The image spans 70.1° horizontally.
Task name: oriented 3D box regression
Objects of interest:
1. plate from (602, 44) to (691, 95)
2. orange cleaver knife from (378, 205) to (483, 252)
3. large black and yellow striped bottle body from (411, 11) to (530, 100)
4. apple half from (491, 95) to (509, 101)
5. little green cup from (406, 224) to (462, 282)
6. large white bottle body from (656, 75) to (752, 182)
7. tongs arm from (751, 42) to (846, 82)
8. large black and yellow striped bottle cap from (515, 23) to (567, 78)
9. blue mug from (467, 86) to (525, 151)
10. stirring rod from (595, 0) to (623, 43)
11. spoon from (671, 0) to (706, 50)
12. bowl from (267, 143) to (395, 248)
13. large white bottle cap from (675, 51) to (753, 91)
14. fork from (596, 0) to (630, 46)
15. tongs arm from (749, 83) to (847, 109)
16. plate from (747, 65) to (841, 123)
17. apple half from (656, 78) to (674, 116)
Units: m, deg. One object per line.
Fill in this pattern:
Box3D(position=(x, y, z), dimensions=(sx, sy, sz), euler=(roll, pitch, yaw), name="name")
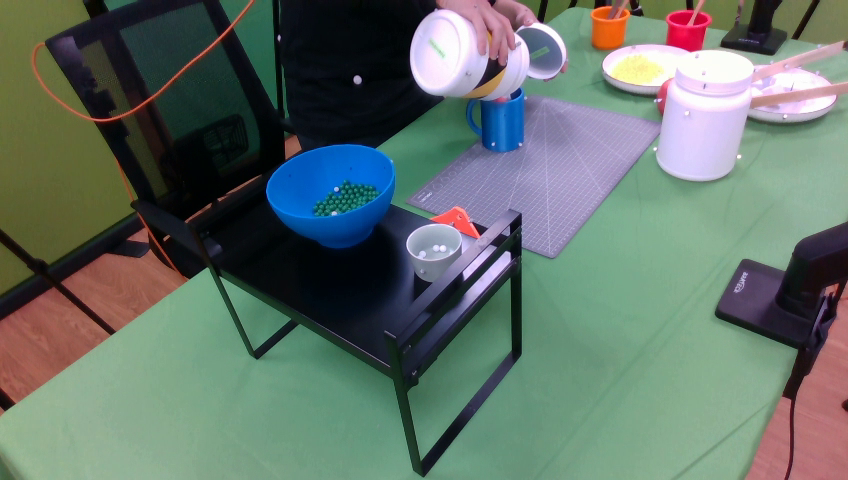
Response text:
Box3D(position=(0.495, -0.367, 1.317), dimensions=(0.209, 0.038, 0.208), euler=(-4, 40, 4), name="plate")
Box3D(position=(0.005, -0.010, 0.943), dimensions=(0.210, 0.077, 0.012), euler=(-5, 23, 47), name="orange cleaver knife")
Box3D(position=(0.084, -0.309, 1.031), dimensions=(0.185, 0.131, 0.129), euler=(-8, 32, -44), name="large black and yellow striped bottle body")
Box3D(position=(0.142, -0.239, 1.158), dimensions=(0.033, 0.081, 0.080), euler=(-13, 40, -17), name="apple half")
Box3D(position=(0.012, 0.015, 0.668), dimensions=(0.061, 0.039, 0.061), euler=(-4, 40, 4), name="little green cup")
Box3D(position=(0.472, -0.207, 1.022), dimensions=(0.130, 0.185, 0.130), euler=(-4, 41, 4), name="large white bottle body")
Box3D(position=(0.708, -0.331, 1.193), dimensions=(0.386, 0.026, 0.050), euler=(-18, 45, -16), name="tongs arm")
Box3D(position=(0.226, -0.372, 1.192), dimensions=(0.114, 0.115, 0.019), euler=(20, 59, 29), name="large black and yellow striped bottle cap")
Box3D(position=(0.138, -0.241, 1.169), dimensions=(0.116, 0.106, 0.082), euler=(11, 44, 21), name="blue mug")
Box3D(position=(0.460, -0.556, 1.459), dimensions=(0.014, 0.006, 0.176), euler=(30, 93, 23), name="stirring rod")
Box3D(position=(0.629, -0.520, 1.394), dimensions=(0.041, 0.022, 0.193), euler=(30, 96, 34), name="spoon")
Box3D(position=(-0.104, -0.043, 0.726), dimensions=(0.151, 0.077, 0.150), euler=(-4, 40, 4), name="bowl")
Box3D(position=(0.463, -0.272, 0.967), dimensions=(0.115, 0.018, 0.114), euler=(-4, 40, 3), name="large white bottle cap")
Box3D(position=(0.481, -0.556, 1.452), dimensions=(0.028, 0.019, 0.207), euler=(40, 103, 40), name="fork")
Box3D(position=(0.734, -0.280, 1.133), dimensions=(0.388, 0.028, 0.028), euler=(-9, 47, -5), name="tongs arm")
Box3D(position=(0.695, -0.282, 1.189), dimensions=(0.207, 0.039, 0.206), euler=(-4, 40, 4), name="plate")
Box3D(position=(0.488, -0.281, 1.192), dimensions=(0.053, 0.075, 0.081), euler=(24, 53, 37), name="apple half")
